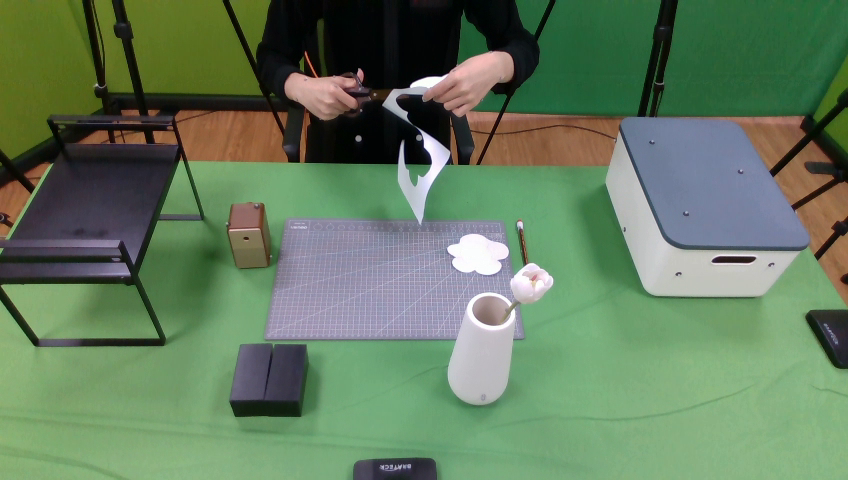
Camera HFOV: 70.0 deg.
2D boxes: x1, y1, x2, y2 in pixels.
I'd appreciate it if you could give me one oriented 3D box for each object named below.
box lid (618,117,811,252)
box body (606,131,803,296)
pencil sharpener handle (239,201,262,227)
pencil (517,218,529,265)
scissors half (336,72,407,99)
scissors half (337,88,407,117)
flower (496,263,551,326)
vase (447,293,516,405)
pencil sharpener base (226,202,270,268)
[{"bbox_3d":[0.534,-0.117,1.149,0.263,0.015,0.369,0,47,-3],"label":"box lid"},{"bbox_3d":[0.530,-0.067,1.204,0.254,0.161,0.361,0,46,-4],"label":"box body"},{"bbox_3d":[-0.325,-0.055,1.150,0.036,0.068,0.030,-13,46,3],"label":"pencil sharpener handle"},{"bbox_3d":[0.200,0.028,1.196,0.012,0.012,0.193,1,48,-3],"label":"pencil"},{"bbox_3d":[-0.097,-0.273,1.084,0.174,0.040,0.013,22,31,34],"label":"scissors half"},{"bbox_3d":[-0.095,-0.252,1.089,0.175,0.040,0.013,-5,9,42],"label":"scissors half"},{"bbox_3d":[0.102,0.120,0.853,0.044,0.363,0.038,-2,64,-10],"label":"flower"},{"bbox_3d":[0.091,0.169,0.921,0.098,0.201,0.097,3,47,-3],"label":"vase"},{"bbox_3d":[-0.323,-0.010,1.123,0.061,0.107,0.076,-3,46,-7],"label":"pencil sharpener base"}]
